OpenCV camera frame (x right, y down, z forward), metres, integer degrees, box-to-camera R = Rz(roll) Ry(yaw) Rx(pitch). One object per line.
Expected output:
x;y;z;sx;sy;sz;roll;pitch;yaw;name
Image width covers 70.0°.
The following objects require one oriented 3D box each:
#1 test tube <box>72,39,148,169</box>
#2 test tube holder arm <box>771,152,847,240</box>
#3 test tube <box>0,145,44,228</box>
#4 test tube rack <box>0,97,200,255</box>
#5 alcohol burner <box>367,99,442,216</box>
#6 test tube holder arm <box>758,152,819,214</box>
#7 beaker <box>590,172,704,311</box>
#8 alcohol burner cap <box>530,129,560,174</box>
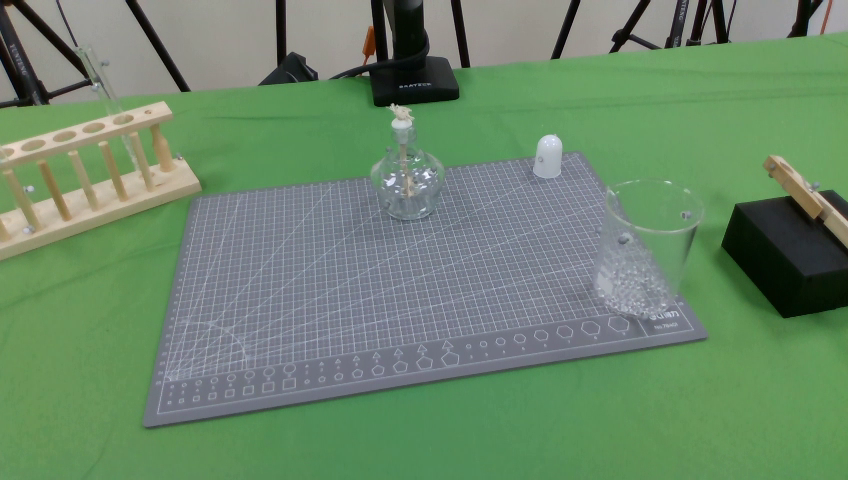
-0.325;-0.136;0.634;0.017;0.152;0.017;-3;43;4;test tube
0.352;-0.026;0.529;0.013;0.015;0.176;-3;40;-9;test tube holder arm
-0.401;-0.074;0.572;0.017;0.152;0.017;-2;39;2;test tube
-0.372;-0.064;0.628;0.243;0.086;0.066;-24;45;-24;test tube rack
-0.021;-0.085;0.611;0.078;0.120;0.077;-3;39;2;alcohol burner
0.339;-0.054;0.562;0.010;0.015;0.087;-3;40;-8;test tube holder arm
0.179;0.003;0.510;0.074;0.101;0.083;-28;46;-27;beaker
0.136;-0.102;0.679;0.034;0.048;0.033;-1;41;1;alcohol burner cap
